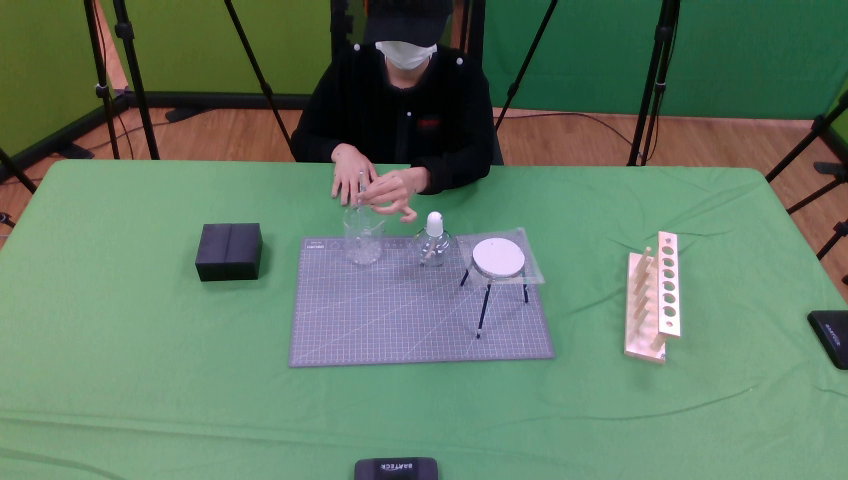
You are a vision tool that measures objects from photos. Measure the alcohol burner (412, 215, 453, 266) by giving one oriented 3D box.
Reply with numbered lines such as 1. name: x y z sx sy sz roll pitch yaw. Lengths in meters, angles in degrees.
1. alcohol burner: 0.017 -0.006 1.139 0.078 0.119 0.077 2 48 -3

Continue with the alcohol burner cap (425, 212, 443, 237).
1. alcohol burner cap: 0.019 -0.032 1.114 0.034 0.048 0.033 1 48 0

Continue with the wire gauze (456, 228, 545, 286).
1. wire gauze: 0.126 0.029 1.006 0.125 0.011 0.120 -4 46 -10

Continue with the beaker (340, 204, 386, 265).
1. beaker: -0.114 -0.008 1.140 0.084 0.101 0.073 -3 46 -8

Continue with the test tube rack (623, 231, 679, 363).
1. test tube rack: 0.410 0.094 1.096 0.066 0.085 0.241 13 46 9

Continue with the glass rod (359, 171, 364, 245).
1. glass rod: -0.114 -0.054 1.110 0.008 0.200 0.008 2 51 -2

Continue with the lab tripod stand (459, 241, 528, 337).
1. lab tripod stand: 0.122 0.075 1.054 0.148 0.132 0.147 3 44 -3
